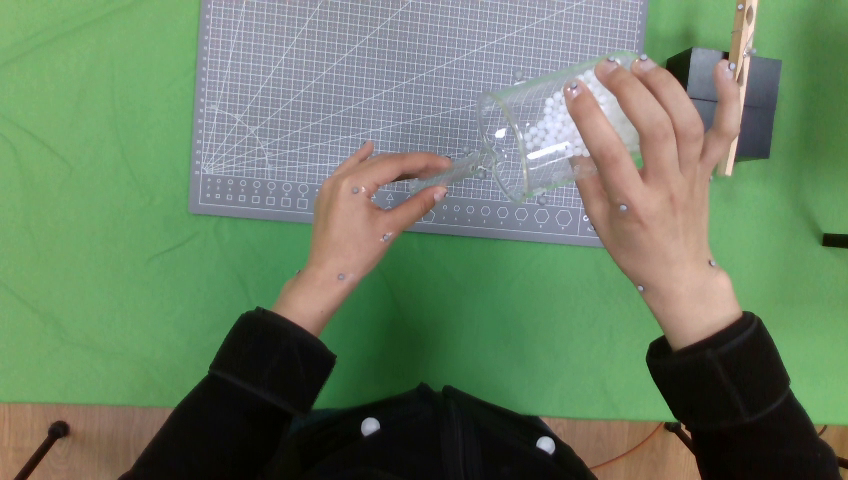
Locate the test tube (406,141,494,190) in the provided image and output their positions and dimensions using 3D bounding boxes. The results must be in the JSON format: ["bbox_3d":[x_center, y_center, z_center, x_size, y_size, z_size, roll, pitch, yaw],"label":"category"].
[{"bbox_3d":[0.016,-0.058,0.489,0.017,0.149,0.017,1,86,-22],"label":"test tube"}]

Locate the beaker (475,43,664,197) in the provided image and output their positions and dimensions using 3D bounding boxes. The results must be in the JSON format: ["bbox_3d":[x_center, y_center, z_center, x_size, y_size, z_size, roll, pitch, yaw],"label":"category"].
[{"bbox_3d":[0.092,-0.078,0.390,0.100,0.084,0.074,-20,92,-8],"label":"beaker"}]

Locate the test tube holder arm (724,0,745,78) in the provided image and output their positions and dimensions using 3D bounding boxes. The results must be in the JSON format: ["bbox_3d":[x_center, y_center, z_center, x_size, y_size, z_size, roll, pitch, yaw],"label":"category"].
[{"bbox_3d":[0.310,-0.205,0.600,0.010,0.015,0.088,3,95,-15],"label":"test tube holder arm"}]

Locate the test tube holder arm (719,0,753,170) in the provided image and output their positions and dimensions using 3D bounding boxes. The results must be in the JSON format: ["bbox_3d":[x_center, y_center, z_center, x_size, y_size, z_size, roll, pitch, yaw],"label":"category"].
[{"bbox_3d":[0.312,-0.160,0.605,0.013,0.015,0.178,2,95,-15],"label":"test tube holder arm"}]
